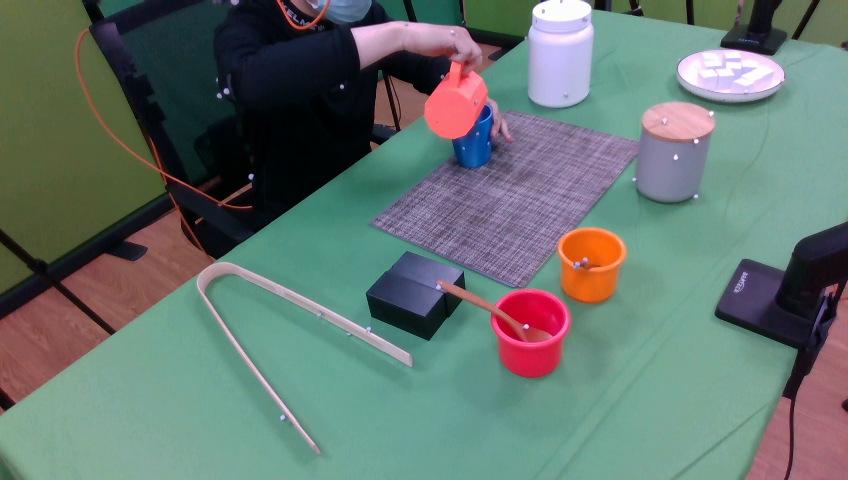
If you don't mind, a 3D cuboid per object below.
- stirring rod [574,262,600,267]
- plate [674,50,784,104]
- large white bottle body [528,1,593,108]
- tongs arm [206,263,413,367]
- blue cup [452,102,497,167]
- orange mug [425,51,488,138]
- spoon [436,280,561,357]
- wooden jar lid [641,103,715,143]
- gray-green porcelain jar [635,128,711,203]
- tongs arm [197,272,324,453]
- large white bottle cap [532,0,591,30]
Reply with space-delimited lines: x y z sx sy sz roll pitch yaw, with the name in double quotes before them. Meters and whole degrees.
"stirring rod" 0.221 0.033 0.816 0.014 0.006 0.177 7 1 22
"plate" 0.631 -0.336 1.262 0.207 0.039 0.206 -4 41 4
"large white bottle body" 0.283 -0.386 1.259 0.130 0.185 0.130 -5 41 5
"tongs arm" -0.179 0.107 0.870 0.381 0.026 0.051 23 54 32
"blue cup" 0.089 -0.193 1.121 0.092 0.101 0.092 -6 42 5
"orange mug" 0.057 -0.245 1.004 0.083 0.126 0.101 13 33 11
"spoon" 0.096 0.095 0.757 0.195 0.021 0.041 34 41 -20
"wooden jar lid" 0.398 -0.180 0.952 0.108 0.021 0.108 -4 43 4
"gray-green porcelain jar" 0.405 -0.133 0.992 0.106 0.127 0.105 -4 40 4
"tongs arm" -0.236 0.154 0.830 0.028 0.028 0.384 -36 47 -18
"large white bottle cap" 0.274 -0.449 1.204 0.115 0.018 0.114 -4 41 4
